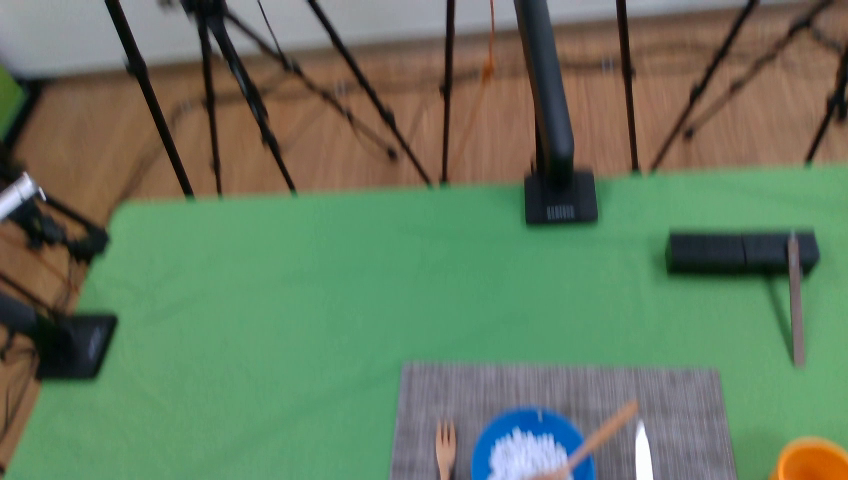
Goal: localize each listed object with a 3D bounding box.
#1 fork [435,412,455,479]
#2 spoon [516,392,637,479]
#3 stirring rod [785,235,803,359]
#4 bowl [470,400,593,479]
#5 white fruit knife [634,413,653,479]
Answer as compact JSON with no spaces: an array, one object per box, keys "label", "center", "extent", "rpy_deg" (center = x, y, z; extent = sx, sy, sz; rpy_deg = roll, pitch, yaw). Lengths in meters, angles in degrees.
[{"label":"fork","center":[0.026,0.331,0.801],"extent":[0.028,0.019,0.205],"rpy_deg":[2,54,1]},{"label":"spoon","center":[0.189,0.254,0.743],"extent":[0.194,0.022,0.041],"rpy_deg":[-43,62,4]},{"label":"stirring rod","center":[0.521,0.078,0.853],"extent":[0.014,0.006,0.175],"rpy_deg":[2,77,9]},{"label":"bowl","center":[0.136,0.290,0.771],"extent":[0.151,0.077,0.150],"rpy_deg":[-5,55,8]},{"label":"white fruit knife","center":[0.281,0.317,0.761],"extent":[0.027,0.016,0.205],"rpy_deg":[6,56,2]}]
